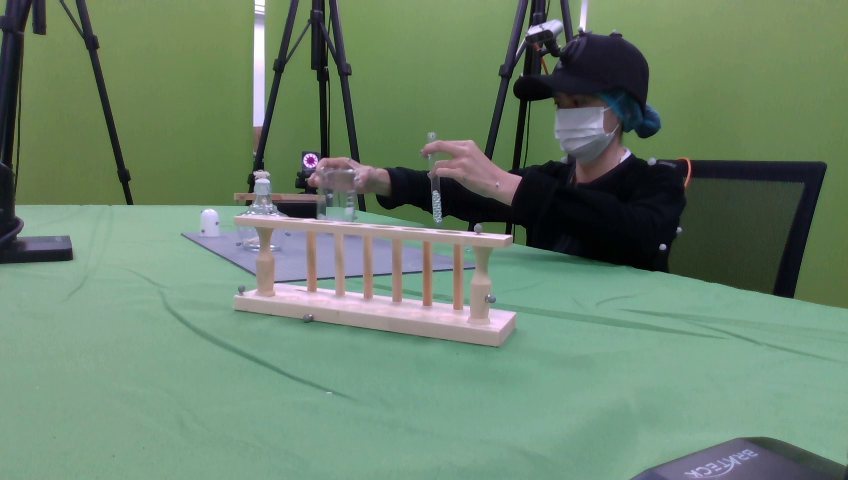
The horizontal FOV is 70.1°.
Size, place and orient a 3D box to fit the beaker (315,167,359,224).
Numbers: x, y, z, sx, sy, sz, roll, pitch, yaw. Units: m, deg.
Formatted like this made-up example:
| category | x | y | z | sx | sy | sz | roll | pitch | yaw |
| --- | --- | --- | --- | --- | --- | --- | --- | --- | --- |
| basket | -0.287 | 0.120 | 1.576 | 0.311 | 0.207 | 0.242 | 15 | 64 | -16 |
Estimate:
| category | x | y | z | sx | sy | sz | roll | pitch | yaw |
| --- | --- | --- | --- | --- | --- | --- | --- | --- | --- |
| beaker | -0.162 | -0.079 | 1.105 | 0.074 | 0.100 | 0.084 | 10 | 11 | 24 |

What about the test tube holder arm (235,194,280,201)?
| category | x | y | z | sx | sy | sz | roll | pitch | yaw |
| --- | --- | --- | --- | --- | --- | --- | --- | --- | --- |
| test tube holder arm | -0.336 | -0.086 | 1.221 | 0.088 | 0.015 | 0.010 | -1 | 16 | -29 |

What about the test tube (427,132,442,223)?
| category | x | y | z | sx | sy | sz | roll | pitch | yaw |
| --- | --- | --- | --- | --- | --- | --- | --- | --- | --- |
| test tube | 0.017 | -0.102 | 0.993 | 0.017 | 0.150 | 0.017 | -4 | 1 | 0 |

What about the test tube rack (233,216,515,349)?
| category | x | y | z | sx | sy | sz | roll | pitch | yaw |
| --- | --- | --- | --- | --- | --- | --- | --- | --- | --- |
| test tube rack | -0.045 | 0.029 | 0.526 | 0.241 | 0.085 | 0.067 | 5 | 8 | 19 |

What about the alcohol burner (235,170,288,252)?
| category | x | y | z | sx | sy | sz | roll | pitch | yaw |
| --- | --- | --- | --- | --- | --- | --- | --- | --- | --- |
| alcohol burner | -0.236 | -0.042 | 0.882 | 0.078 | 0.119 | 0.078 | 2 | 9 | 0 |

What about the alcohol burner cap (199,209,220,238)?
| category | x | y | z | sx | sy | sz | roll | pitch | yaw |
| --- | --- | --- | --- | --- | --- | --- | --- | --- | --- |
| alcohol burner cap | -0.356 | -0.027 | 1.002 | 0.034 | 0.048 | 0.034 | 2 | 7 | 0 |

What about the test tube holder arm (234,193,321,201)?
| category | x | y | z | sx | sy | sz | roll | pitch | yaw |
| --- | --- | --- | --- | --- | --- | --- | --- | --- | --- |
| test tube holder arm | -0.299 | -0.088 | 1.248 | 0.179 | 0.015 | 0.013 | -1 | 16 | -30 |
